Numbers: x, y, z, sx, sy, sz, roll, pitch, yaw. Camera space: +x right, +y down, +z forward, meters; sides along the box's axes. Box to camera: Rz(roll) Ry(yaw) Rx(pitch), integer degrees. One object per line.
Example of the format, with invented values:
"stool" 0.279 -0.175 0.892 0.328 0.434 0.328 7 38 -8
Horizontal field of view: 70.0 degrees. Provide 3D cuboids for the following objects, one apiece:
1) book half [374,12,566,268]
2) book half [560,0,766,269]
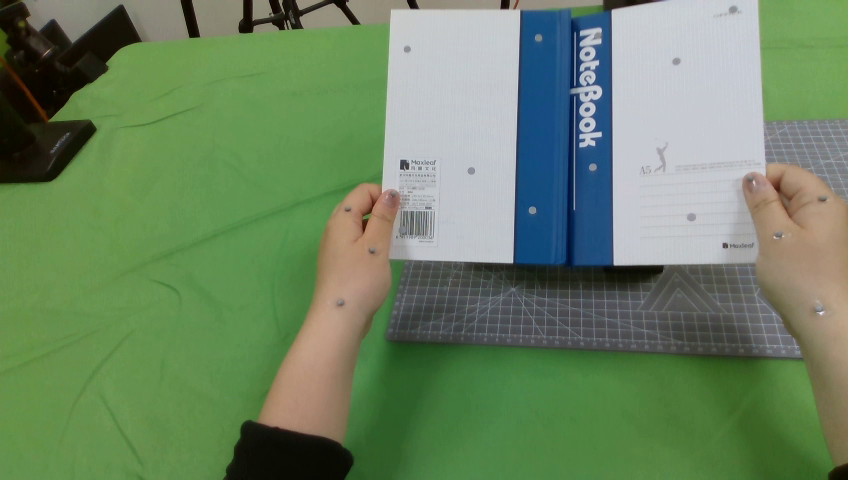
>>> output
"book half" 0.038 -0.083 0.489 0.148 0.016 0.209 2 83 4
"book half" 0.176 -0.083 0.463 0.142 0.007 0.209 -1 81 24
